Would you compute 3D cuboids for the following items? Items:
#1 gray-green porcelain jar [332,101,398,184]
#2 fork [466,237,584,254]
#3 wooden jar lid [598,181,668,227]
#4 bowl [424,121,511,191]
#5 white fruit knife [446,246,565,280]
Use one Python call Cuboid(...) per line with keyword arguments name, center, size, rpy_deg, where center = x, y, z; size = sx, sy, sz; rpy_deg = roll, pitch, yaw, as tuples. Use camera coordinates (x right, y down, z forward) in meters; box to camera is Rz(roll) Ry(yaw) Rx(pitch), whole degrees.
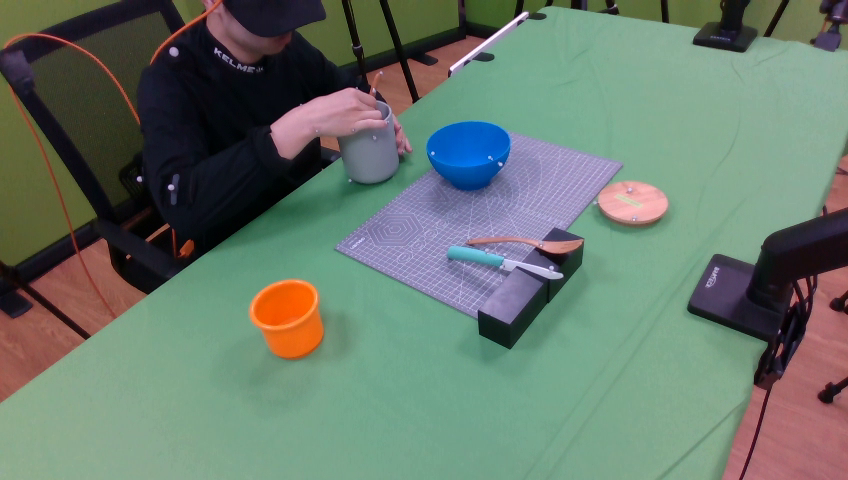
Cuboid(name="gray-green porcelain jar", center=(-0.105, -0.174, 1.108), size=(0.106, 0.127, 0.105), rpy_deg=(-4, 40, 4))
Cuboid(name="fork", center=(0.142, 0.005, 0.894), size=(0.205, 0.019, 0.028), rpy_deg=(4, 43, 41))
Cuboid(name="wooden jar lid", center=(0.340, -0.058, 0.988), size=(0.108, 0.021, 0.108), rpy_deg=(-5, 41, 5))
Cuboid(name="bowl", center=(0.081, -0.141, 1.074), size=(0.151, 0.077, 0.150), rpy_deg=(-4, 41, 4))
Cuboid(name="white fruit knife", center=(0.111, 0.033, 0.868), size=(0.205, 0.027, 0.016), rpy_deg=(11, 43, 40))
